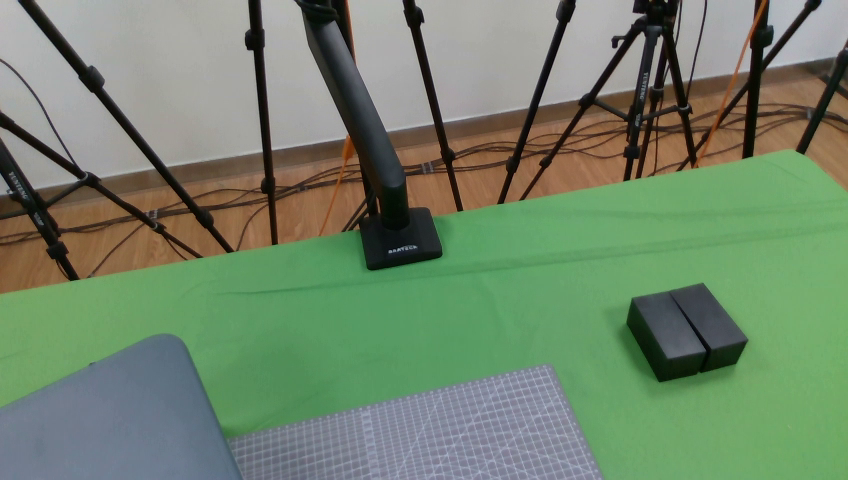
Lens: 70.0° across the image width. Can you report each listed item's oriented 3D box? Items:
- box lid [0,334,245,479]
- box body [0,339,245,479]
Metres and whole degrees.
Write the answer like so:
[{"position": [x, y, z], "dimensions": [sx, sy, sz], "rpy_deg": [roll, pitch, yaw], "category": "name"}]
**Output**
[{"position": [-0.349, 0.243, 0.514], "dimensions": [0.372, 0.015, 0.260], "rpy_deg": [-26, 48, -20], "category": "box lid"}, {"position": [-0.346, 0.297, 0.566], "dimensions": [0.364, 0.162, 0.251], "rpy_deg": [-26, 48, -21], "category": "box body"}]
